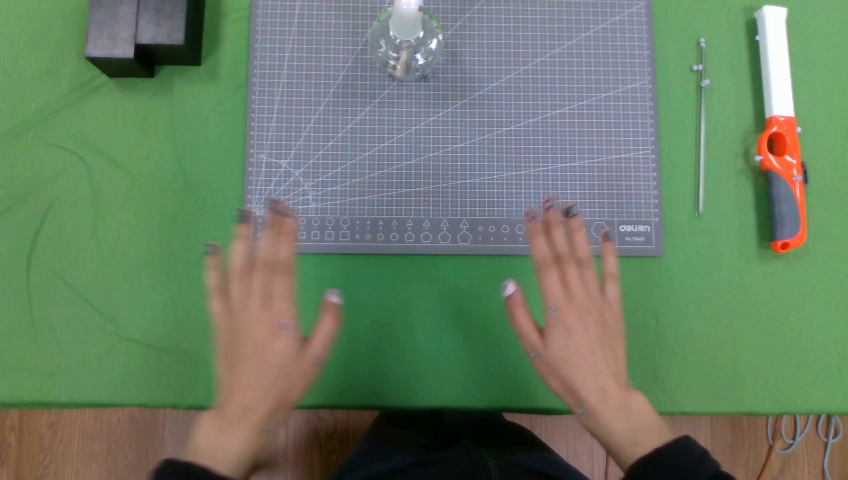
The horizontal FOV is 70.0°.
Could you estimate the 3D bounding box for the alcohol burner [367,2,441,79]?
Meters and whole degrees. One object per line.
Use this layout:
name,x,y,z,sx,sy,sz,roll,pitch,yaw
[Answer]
alcohol burner,-0.020,-0.213,0.618,0.078,0.119,0.077,1,81,-3

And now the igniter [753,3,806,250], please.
igniter,0.387,-0.126,0.664,0.057,0.025,0.275,2,82,-12

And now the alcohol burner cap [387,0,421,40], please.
alcohol burner cap,-0.018,-0.220,0.583,0.034,0.048,0.033,2,75,-9

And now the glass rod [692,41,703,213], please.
glass rod,0.303,-0.127,0.672,0.008,0.008,0.199,5,82,-1
